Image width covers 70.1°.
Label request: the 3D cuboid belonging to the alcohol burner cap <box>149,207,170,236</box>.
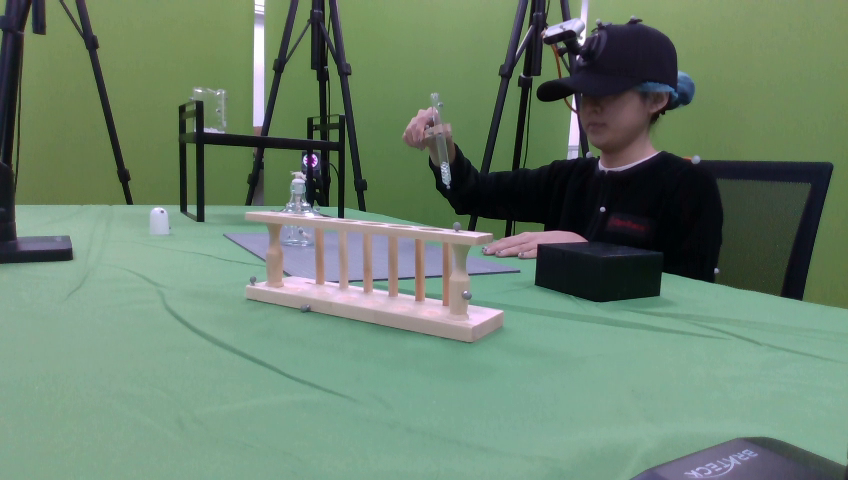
[{"bbox_3d":[-0.445,-0.032,1.019,0.034,0.048,0.034,4,8,0],"label":"alcohol burner cap"}]

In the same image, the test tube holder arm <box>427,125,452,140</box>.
[{"bbox_3d":[0.021,-0.179,1.007,0.010,0.015,0.087,-4,3,-28],"label":"test tube holder arm"}]

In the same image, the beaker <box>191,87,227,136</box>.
[{"bbox_3d":[-0.476,-0.284,1.345,0.074,0.100,0.083,-3,10,-37],"label":"beaker"}]

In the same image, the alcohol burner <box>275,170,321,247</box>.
[{"bbox_3d":[-0.199,-0.049,0.948,0.078,0.119,0.078,1,7,0],"label":"alcohol burner"}]

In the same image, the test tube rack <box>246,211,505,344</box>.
[{"bbox_3d":[-0.049,0.025,0.547,0.241,0.085,0.067,7,8,29],"label":"test tube rack"}]

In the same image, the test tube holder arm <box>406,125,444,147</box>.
[{"bbox_3d":[-0.002,-0.179,1.046,0.013,0.015,0.178,-3,2,-21],"label":"test tube holder arm"}]

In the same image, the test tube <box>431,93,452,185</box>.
[{"bbox_3d":[0.028,-0.164,0.985,0.017,0.150,0.017,-8,2,1],"label":"test tube"}]
